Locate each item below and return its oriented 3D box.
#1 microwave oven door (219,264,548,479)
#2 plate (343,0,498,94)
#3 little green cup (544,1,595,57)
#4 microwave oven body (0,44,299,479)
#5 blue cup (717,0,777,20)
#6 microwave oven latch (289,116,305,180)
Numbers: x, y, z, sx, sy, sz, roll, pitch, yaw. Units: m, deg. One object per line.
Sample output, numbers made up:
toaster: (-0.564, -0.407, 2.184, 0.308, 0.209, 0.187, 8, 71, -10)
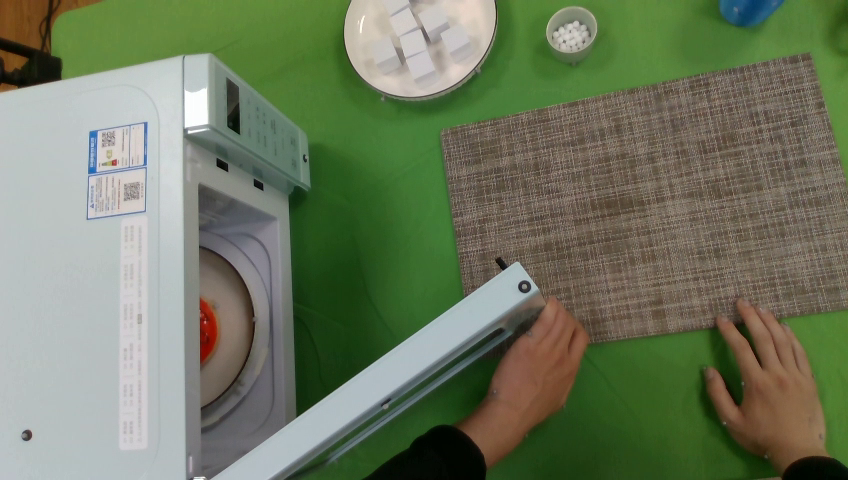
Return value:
microwave oven door: (-0.031, 0.146, 0.621, 0.356, 0.245, 0.039, -36, 74, 5)
plate: (-0.004, -0.289, 0.806, 0.207, 0.039, 0.207, -2, 81, 12)
little green cup: (0.182, -0.262, 0.760, 0.061, 0.039, 0.061, -2, 81, 13)
microwave oven body: (-0.325, 0.055, 0.705, 0.325, 0.261, 0.440, -7, 81, 11)
blue cup: (0.378, -0.302, 0.690, 0.092, 0.101, 0.092, -2, 82, 12)
microwave oven latch: (-0.174, -0.120, 0.798, 0.030, 0.029, 0.079, -5, 81, 11)
